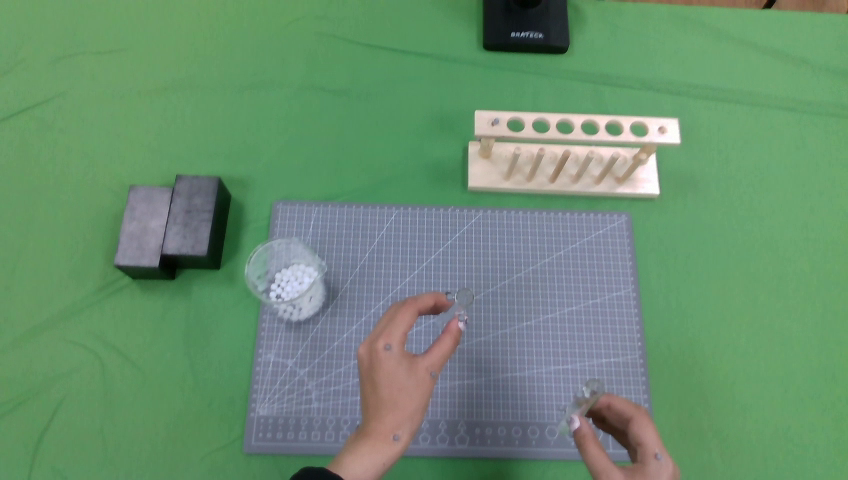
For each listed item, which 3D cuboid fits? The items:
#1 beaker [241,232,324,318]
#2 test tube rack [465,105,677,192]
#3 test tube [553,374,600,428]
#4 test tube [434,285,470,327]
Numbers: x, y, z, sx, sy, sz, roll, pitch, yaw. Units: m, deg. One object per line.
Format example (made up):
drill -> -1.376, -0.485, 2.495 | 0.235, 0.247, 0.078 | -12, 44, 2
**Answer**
beaker -> -0.148, 0.042, 0.668 | 0.084, 0.101, 0.073 | -5, 71, -5
test tube rack -> 0.176, -0.111, 0.748 | 0.242, 0.085, 0.066 | 2, 70, -1
test tube -> 0.134, 0.147, 0.542 | 0.017, 0.151, 0.017 | -1, 62, 2
test tube -> 0.024, 0.064, 0.566 | 0.017, 0.151, 0.017 | 1, 74, -5
